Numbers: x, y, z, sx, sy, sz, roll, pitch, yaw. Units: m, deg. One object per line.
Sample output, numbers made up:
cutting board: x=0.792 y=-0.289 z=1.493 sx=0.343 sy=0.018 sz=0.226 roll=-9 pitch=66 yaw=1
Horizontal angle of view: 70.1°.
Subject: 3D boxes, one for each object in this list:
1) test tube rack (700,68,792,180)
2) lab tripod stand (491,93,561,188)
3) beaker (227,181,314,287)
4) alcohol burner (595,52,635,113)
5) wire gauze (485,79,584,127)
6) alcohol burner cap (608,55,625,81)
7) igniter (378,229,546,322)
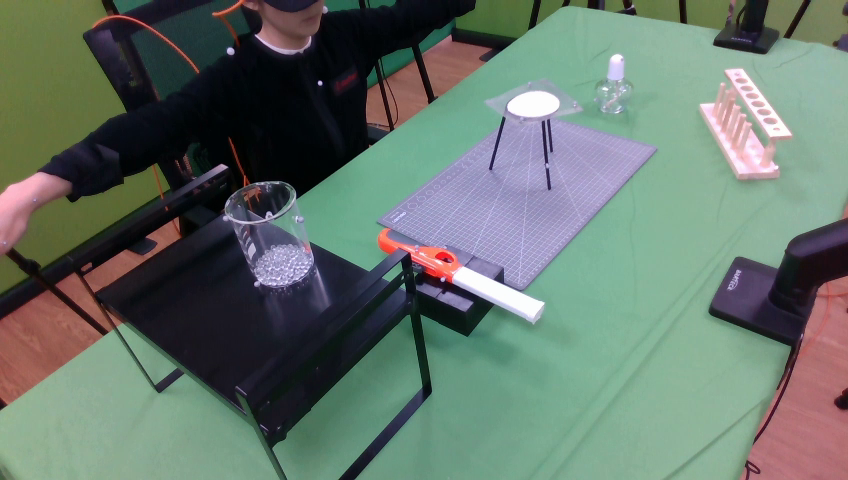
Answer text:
test tube rack: x=0.571 y=-0.215 z=1.090 sx=0.066 sy=0.085 sz=0.241 roll=-3 pitch=41 yaw=7
lab tripod stand: x=0.189 y=-0.180 z=1.066 sx=0.148 sy=0.132 sz=0.147 roll=-5 pitch=42 yaw=5
beaker: x=-0.166 y=-0.006 z=0.670 sx=0.074 sy=0.101 sz=0.083 roll=-8 pitch=40 yaw=0
alcohol burner: x=0.386 y=-0.319 z=1.217 sx=0.078 sy=0.119 sz=0.077 roll=-5 pitch=39 yaw=4
wire gauze: x=0.185 y=-0.232 z=1.023 sx=0.125 sy=0.011 sz=0.120 roll=-20 pitch=42 yaw=-12
alcohol burner cap: x=0.383 y=-0.343 z=1.198 sx=0.034 sy=0.048 sz=0.033 roll=-5 pitch=41 yaw=5
igniter: x=0.041 y=0.043 z=0.843 sx=0.274 sy=0.025 sz=0.057 roll=24 pitch=47 yaw=29
